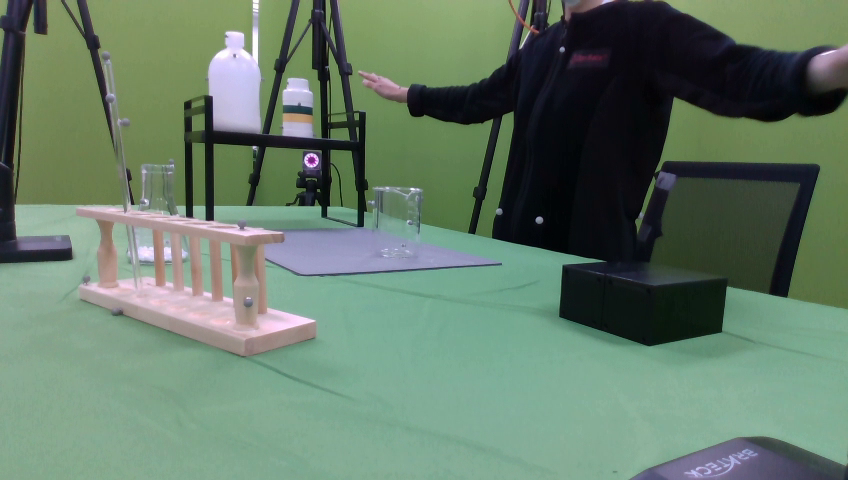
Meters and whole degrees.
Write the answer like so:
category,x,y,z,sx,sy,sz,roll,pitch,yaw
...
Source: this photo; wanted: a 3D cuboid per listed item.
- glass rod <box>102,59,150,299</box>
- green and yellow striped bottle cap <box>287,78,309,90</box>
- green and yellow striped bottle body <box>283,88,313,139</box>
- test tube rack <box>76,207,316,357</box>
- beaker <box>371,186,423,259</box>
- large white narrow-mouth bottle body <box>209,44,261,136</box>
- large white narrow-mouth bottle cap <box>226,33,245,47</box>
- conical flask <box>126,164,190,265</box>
category,x,y,z,sx,sy,sz,roll,pitch,yaw
glass rod,-0.243,-0.045,0.496,0.008,0.199,0.008,-4,13,1
green and yellow striped bottle cap,-0.265,-0.326,1.268,0.045,0.020,0.045,4,6,0
green and yellow striped bottle body,-0.266,-0.275,1.275,0.063,0.119,0.063,3,7,0
test tube rack,-0.196,0.023,0.500,0.241,0.085,0.067,8,8,36
beaker,-0.038,-0.025,0.869,0.074,0.100,0.083,-1,8,-22
large white narrow-mouth bottle body,-0.373,-0.306,1.197,0.102,0.194,0.102,3,8,0
large white narrow-mouth bottle cap,-0.368,-0.391,1.184,0.038,0.024,0.037,3,8,0
conical flask,-0.332,-0.033,0.756,0.075,0.122,0.075,2,7,0
